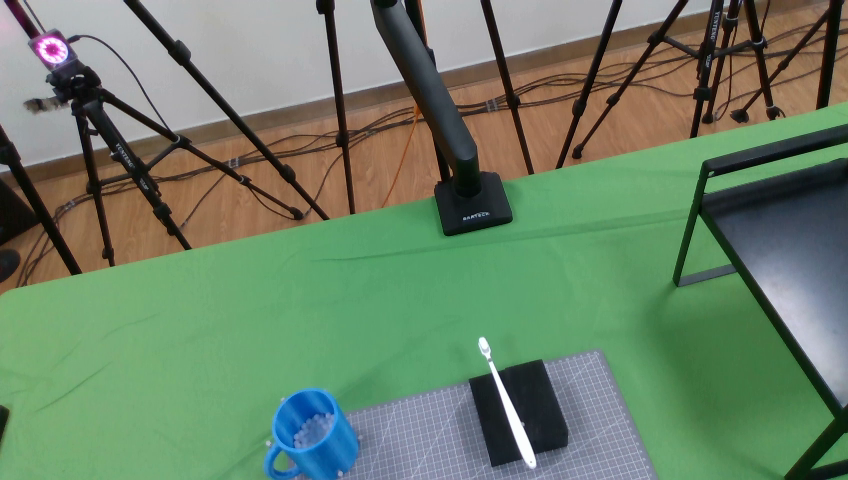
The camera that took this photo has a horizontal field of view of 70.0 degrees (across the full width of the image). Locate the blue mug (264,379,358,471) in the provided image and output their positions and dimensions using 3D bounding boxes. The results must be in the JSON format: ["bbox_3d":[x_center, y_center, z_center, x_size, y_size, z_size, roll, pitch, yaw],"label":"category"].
[{"bbox_3d":[-0.148,0.247,0.769,0.116,0.107,0.081,-37,54,-17],"label":"blue mug"}]

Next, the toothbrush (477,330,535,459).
[{"bbox_3d":[0.101,0.189,0.762,0.014,0.017,0.180,-15,51,-7],"label":"toothbrush"}]
